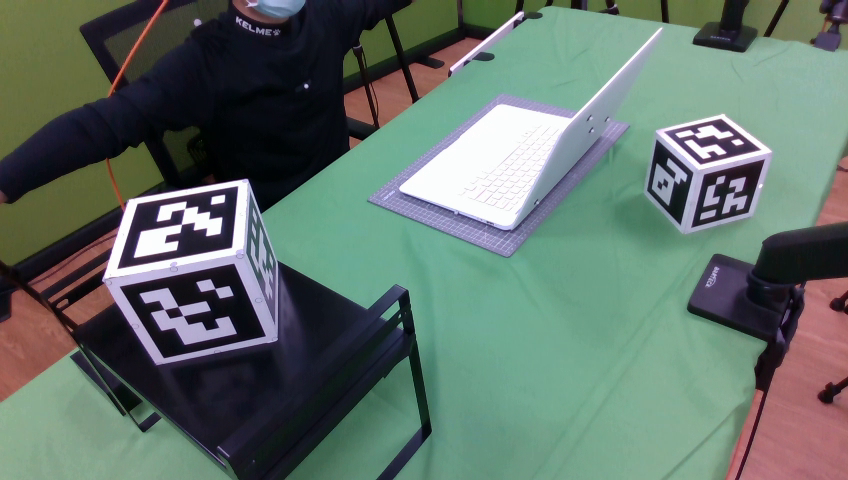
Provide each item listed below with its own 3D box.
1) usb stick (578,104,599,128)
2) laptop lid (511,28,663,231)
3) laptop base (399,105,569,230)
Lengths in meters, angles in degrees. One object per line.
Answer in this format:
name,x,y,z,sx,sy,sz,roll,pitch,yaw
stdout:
usb stick,0.322,-0.242,1.189,0.021,0.027,0.059,24,53,29
laptop lid,0.265,-0.179,0.972,0.013,0.242,0.357,36,53,14
laptop base,0.149,-0.147,1.123,0.233,0.023,0.355,20,47,32
